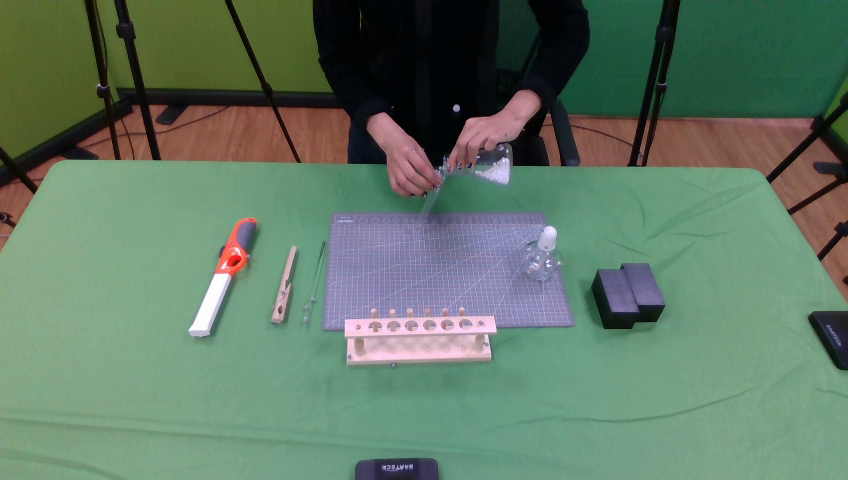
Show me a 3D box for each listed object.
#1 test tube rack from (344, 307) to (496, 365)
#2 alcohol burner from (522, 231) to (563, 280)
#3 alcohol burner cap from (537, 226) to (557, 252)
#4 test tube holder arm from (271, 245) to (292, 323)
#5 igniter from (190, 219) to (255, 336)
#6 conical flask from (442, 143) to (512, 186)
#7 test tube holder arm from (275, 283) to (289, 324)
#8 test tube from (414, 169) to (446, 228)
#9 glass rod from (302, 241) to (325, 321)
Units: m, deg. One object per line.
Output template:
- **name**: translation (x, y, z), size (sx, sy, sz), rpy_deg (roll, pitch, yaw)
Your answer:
- **test tube rack**: translation (-0.009, 0.154, 1.007), size (0.242, 0.085, 0.066), rpy_deg (-1, 46, -5)
- **alcohol burner**: translation (0.224, 0.020, 1.131), size (0.078, 0.119, 0.077), rpy_deg (4, 46, -4)
- **alcohol burner cap**: translation (0.226, -0.004, 1.104), size (0.034, 0.048, 0.033), rpy_deg (0, 50, 1)
- **test tube holder arm**: translation (-0.259, 0.076, 1.106), size (0.013, 0.015, 0.177), rpy_deg (28, 38, -28)
- **igniter**: translation (-0.365, 0.058, 1.110), size (0.057, 0.025, 0.275), rpy_deg (-1, 45, 8)
- **conical flask**: translation (0.094, -0.135, 1.076), size (0.122, 0.076, 0.075), rpy_deg (1, 45, 10)
- **test tube holder arm**: translation (-0.254, 0.111, 1.077), size (0.010, 0.015, 0.087), rpy_deg (29, 38, -27)
- **test tube**: translation (0.010, -0.075, 1.147), size (0.017, 0.151, 0.017), rpy_deg (13, 44, -13)
- **glass rod**: translation (-0.203, 0.071, 1.124), size (0.008, 0.008, 0.198), rpy_deg (4, 44, 1)
